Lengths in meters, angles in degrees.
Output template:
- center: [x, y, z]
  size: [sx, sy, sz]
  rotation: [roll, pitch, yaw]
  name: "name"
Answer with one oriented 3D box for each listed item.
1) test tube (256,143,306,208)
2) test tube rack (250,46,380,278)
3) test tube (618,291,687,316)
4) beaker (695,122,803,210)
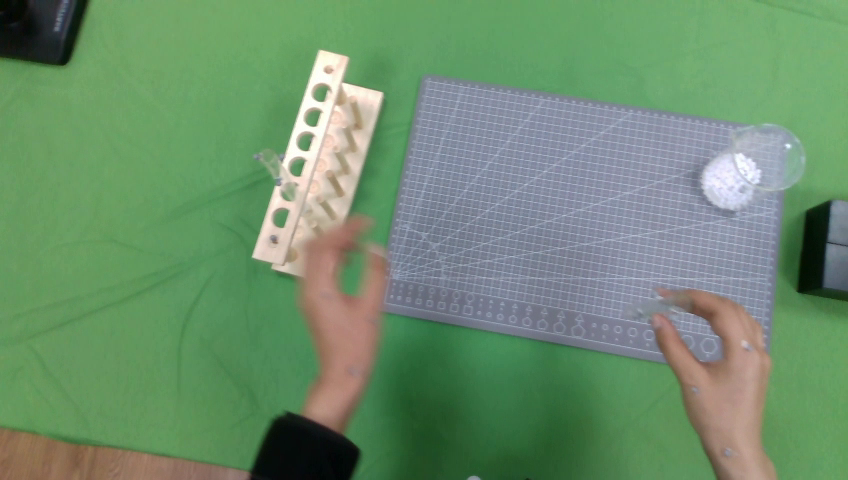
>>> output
- center: [-0.147, -0.063, 0.638]
  size: [0.017, 0.151, 0.017]
  rotation: [0, 73, 2]
  name: "test tube"
- center: [-0.118, -0.086, 0.691]
  size: [0.067, 0.085, 0.241]
  rotation: [15, 81, 4]
  name: "test tube rack"
- center: [0.199, 0.058, 0.539]
  size: [0.017, 0.151, 0.017]
  rotation: [0, 81, 3]
  name: "test tube"
- center: [0.352, -0.080, 0.673]
  size: [0.083, 0.100, 0.074]
  rotation: [42, 83, 9]
  name: "beaker"
